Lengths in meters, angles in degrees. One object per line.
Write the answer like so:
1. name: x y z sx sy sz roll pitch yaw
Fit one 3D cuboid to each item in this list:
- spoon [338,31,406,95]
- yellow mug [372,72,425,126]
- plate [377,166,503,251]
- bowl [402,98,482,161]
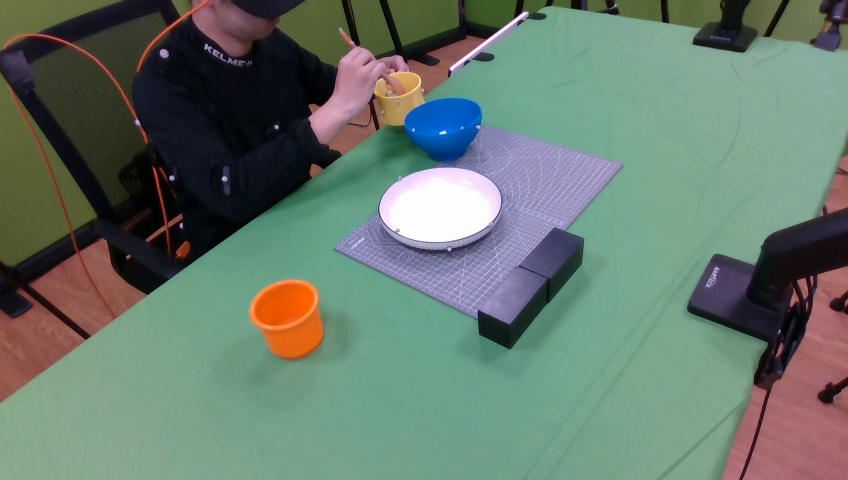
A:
1. spoon: -0.096 -0.332 1.165 0.021 0.195 0.041 -29 45 32
2. yellow mug: -0.052 -0.297 1.236 0.100 0.064 0.130 -14 42 0
3. plate: 0.027 -0.050 1.007 0.209 0.038 0.208 -4 41 4
4. bowl: 0.040 -0.203 1.154 0.151 0.077 0.150 -7 37 6
